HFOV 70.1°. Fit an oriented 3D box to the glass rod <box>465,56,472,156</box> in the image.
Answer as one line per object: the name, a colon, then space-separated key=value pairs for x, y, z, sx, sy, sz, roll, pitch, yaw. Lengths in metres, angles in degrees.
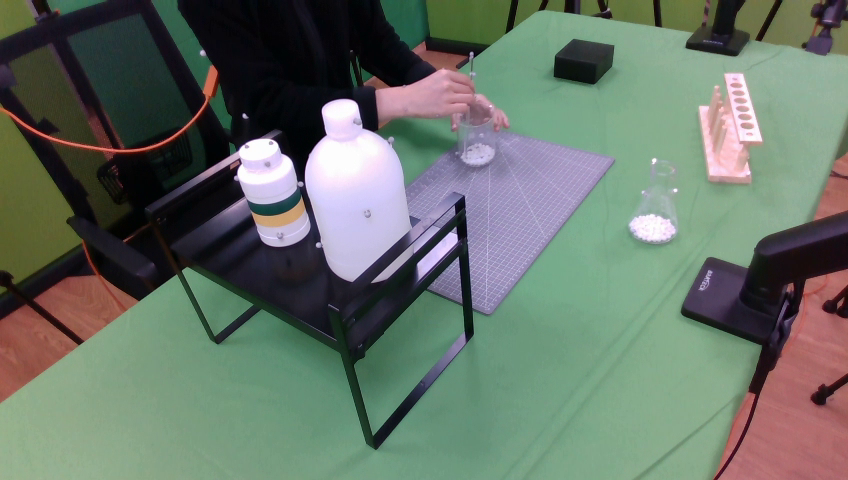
glass rod: x=0.078 y=-0.229 z=1.060 sx=0.008 sy=0.200 sz=0.008 roll=0 pitch=43 yaw=1

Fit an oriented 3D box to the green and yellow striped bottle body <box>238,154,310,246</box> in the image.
green and yellow striped bottle body: x=-0.178 y=-0.056 z=0.714 sx=0.063 sy=0.120 sz=0.063 roll=-4 pitch=40 yaw=4

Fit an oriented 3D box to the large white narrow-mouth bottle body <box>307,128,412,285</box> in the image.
large white narrow-mouth bottle body: x=-0.070 y=-0.051 z=0.638 sx=0.102 sy=0.195 sz=0.101 roll=-3 pitch=40 yaw=3

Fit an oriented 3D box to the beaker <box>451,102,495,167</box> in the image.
beaker: x=0.095 y=-0.193 z=1.115 sx=0.084 sy=0.101 sz=0.073 roll=-29 pitch=50 yaw=-17

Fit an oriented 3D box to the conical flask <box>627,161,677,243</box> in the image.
conical flask: x=0.355 y=-0.061 z=0.921 sx=0.075 sy=0.122 sz=0.075 roll=-4 pitch=41 yaw=4

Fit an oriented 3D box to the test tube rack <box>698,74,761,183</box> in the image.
test tube rack: x=0.547 y=-0.208 z=1.095 sx=0.066 sy=0.085 sz=0.242 roll=5 pitch=42 yaw=15

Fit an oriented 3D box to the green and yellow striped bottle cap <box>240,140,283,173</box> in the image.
green and yellow striped bottle cap: x=-0.183 y=-0.094 z=0.680 sx=0.045 sy=0.020 sz=0.045 roll=-5 pitch=38 yaw=4

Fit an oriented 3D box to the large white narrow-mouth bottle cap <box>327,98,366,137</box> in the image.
large white narrow-mouth bottle cap: x=-0.075 y=-0.118 z=0.582 sx=0.038 sy=0.024 sz=0.037 roll=-3 pitch=40 yaw=3
